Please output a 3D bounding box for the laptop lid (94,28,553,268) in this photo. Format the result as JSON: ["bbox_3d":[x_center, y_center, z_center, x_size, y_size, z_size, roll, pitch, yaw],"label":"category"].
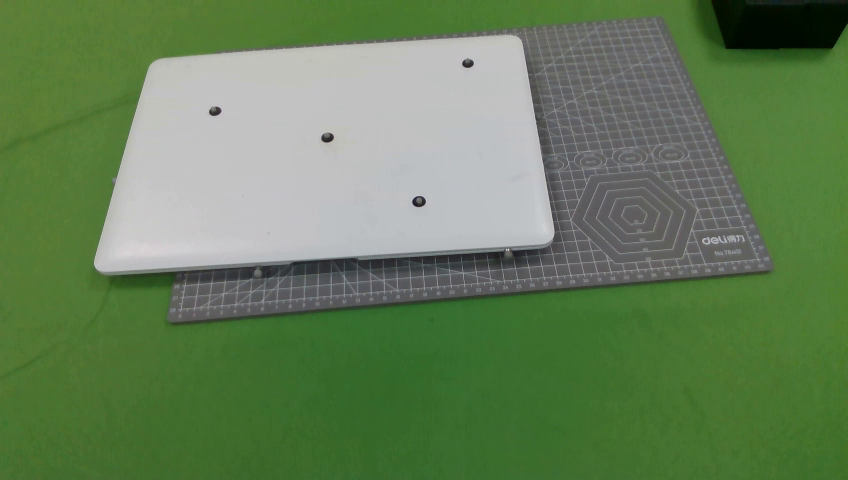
[{"bbox_3d":[-0.081,-0.088,0.511,0.357,0.013,0.239,-2,60,2],"label":"laptop lid"}]

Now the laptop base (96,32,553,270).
[{"bbox_3d":[-0.081,-0.084,0.523,0.354,0.023,0.233,-4,61,1],"label":"laptop base"}]
